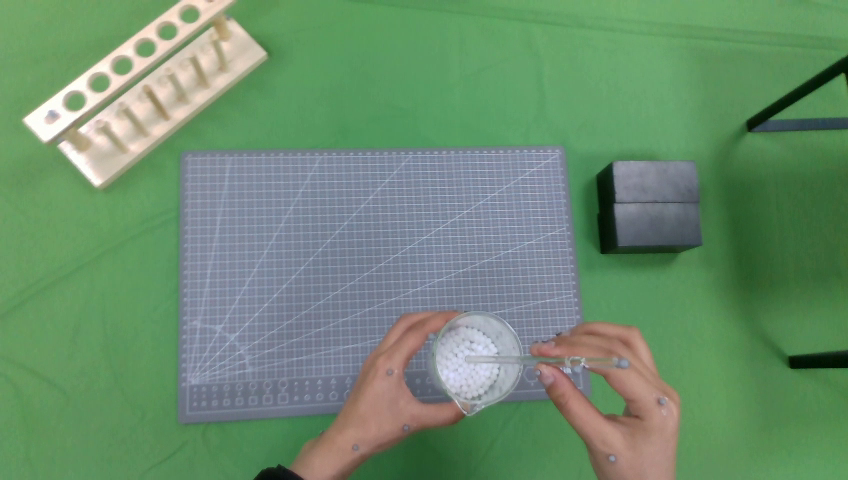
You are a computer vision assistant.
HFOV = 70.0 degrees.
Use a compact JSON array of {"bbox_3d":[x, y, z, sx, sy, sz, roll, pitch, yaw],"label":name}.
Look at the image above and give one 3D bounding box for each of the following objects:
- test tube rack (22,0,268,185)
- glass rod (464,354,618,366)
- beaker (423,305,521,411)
[{"bbox_3d":[-0.289,-0.172,0.655,0.242,0.085,0.066,-43,86,-12],"label":"test tube rack"},{"bbox_3d":[0.071,0.085,0.427,0.008,0.199,0.008,4,78,-21],"label":"glass rod"},{"bbox_3d":[0.036,0.105,0.526,0.074,0.100,0.083,11,76,-2],"label":"beaker"}]
